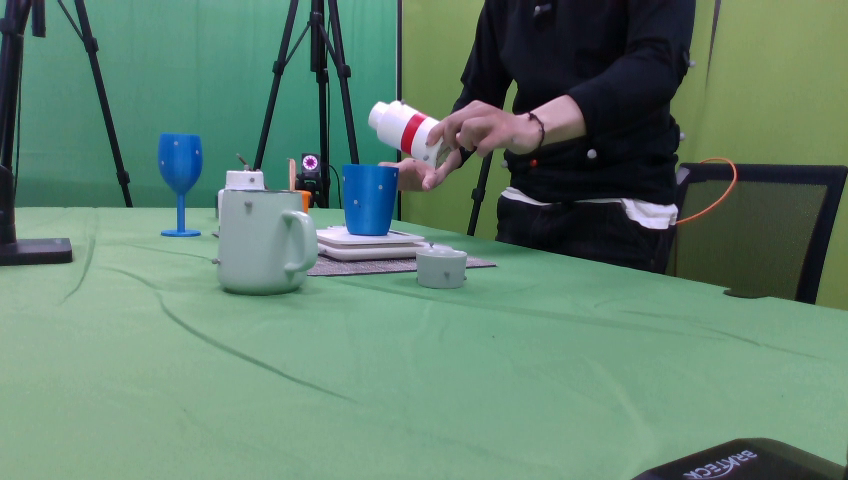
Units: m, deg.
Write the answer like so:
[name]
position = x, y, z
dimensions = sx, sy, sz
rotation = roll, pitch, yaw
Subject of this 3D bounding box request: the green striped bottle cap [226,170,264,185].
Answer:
[green striped bottle cap]
position = -0.222, -0.077, 0.748
dimensions = 0.044, 0.020, 0.044
rotation = 1, 7, 0

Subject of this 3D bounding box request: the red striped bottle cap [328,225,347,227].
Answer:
[red striped bottle cap]
position = -0.153, -0.017, 1.094
dimensions = 0.044, 0.017, 0.044
rotation = 2, 8, 0

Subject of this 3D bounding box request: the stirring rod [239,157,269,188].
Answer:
[stirring rod]
position = -0.309, -0.098, 1.209
dimensions = 0.006, 0.177, 0.014
rotation = -39, 29, -4

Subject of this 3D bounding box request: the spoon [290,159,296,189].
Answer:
[spoon]
position = -0.273, -0.102, 1.252
dimensions = 0.042, 0.193, 0.021
rotation = 7, -38, -17

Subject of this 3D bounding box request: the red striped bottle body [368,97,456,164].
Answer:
[red striped bottle body]
position = -0.020, -0.160, 0.860
dimensions = 0.119, 0.063, 0.063
rotation = 28, 15, 15

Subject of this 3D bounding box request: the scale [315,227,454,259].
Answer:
[scale]
position = -0.066, 0.001, 0.906
dimensions = 0.202, 0.031, 0.148
rotation = -2, 8, -31

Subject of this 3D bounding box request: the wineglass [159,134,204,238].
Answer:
[wineglass]
position = -0.415, -0.093, 1.040
dimensions = 0.074, 0.172, 0.073
rotation = 2, 7, 0

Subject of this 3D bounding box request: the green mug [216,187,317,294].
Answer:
[green mug]
position = -0.157, 0.000, 0.629
dimensions = 0.124, 0.105, 0.093
rotation = 7, 9, 37

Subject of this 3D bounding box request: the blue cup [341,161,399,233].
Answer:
[blue cup]
position = -0.080, -0.062, 0.884
dimensions = 0.093, 0.100, 0.092
rotation = 2, 4, 0

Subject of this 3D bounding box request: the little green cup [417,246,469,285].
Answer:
[little green cup]
position = 0.021, 0.029, 0.701
dimensions = 0.061, 0.038, 0.061
rotation = 1, 6, 0

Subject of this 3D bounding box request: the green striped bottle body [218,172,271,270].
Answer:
[green striped bottle body]
position = -0.223, -0.025, 0.755
dimensions = 0.063, 0.119, 0.063
rotation = 2, 7, 0
